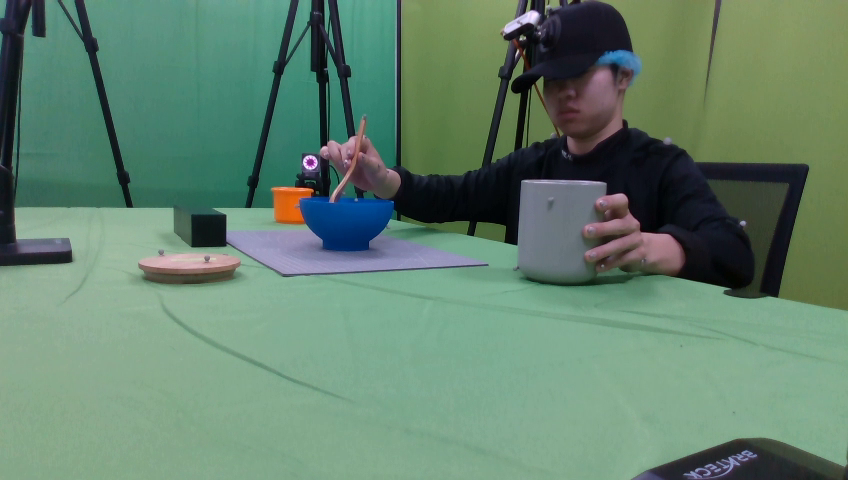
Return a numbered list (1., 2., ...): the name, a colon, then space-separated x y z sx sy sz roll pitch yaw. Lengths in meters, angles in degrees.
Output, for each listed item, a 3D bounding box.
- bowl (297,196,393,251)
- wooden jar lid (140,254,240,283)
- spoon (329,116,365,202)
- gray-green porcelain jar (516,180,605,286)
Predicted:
1. bowl: -0.125 -0.026 0.957 0.151 0.077 0.151 2 7 0
2. wooden jar lid: -0.269 0.032 0.698 0.108 0.020 0.108 2 5 0
3. spoon: -0.123 -0.115 0.982 0.021 0.193 0.041 17 -16 4
4. gray-green porcelain jar: 0.171 -0.011 0.767 0.106 0.126 0.106 2 8 0
